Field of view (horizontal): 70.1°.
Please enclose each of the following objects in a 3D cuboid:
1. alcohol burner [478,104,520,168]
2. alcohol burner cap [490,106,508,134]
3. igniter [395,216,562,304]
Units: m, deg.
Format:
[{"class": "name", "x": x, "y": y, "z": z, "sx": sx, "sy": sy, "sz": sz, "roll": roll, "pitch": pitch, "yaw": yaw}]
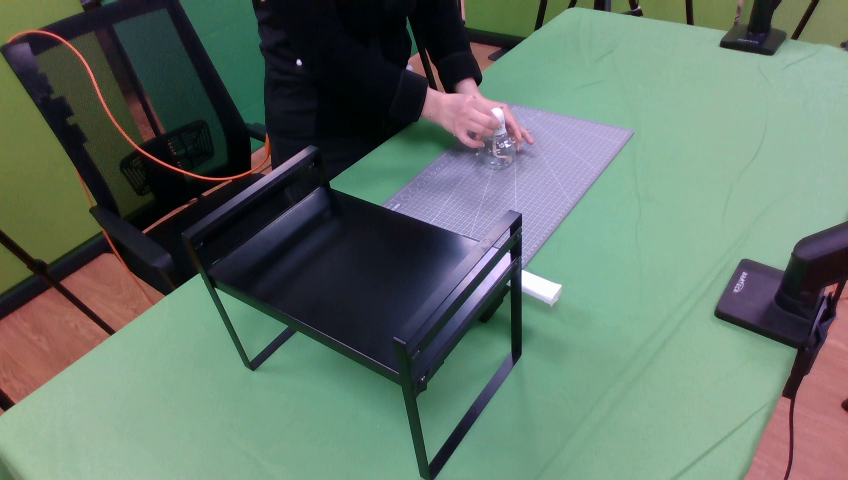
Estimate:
[{"class": "alcohol burner", "x": 0.136, "y": -0.193, "z": 1.107, "sx": 0.078, "sy": 0.119, "sz": 0.077, "roll": -5, "pitch": 38, "yaw": 5}, {"class": "alcohol burner cap", "x": 0.133, "y": -0.217, "z": 1.086, "sx": 0.034, "sy": 0.048, "sz": 0.033, "roll": -7, "pitch": 44, "yaw": 8}, {"class": "igniter", "x": 0.066, "y": 0.023, "z": 0.864, "sx": 0.274, "sy": 0.025, "sz": 0.057, "roll": 24, "pitch": 48, "yaw": 28}]
